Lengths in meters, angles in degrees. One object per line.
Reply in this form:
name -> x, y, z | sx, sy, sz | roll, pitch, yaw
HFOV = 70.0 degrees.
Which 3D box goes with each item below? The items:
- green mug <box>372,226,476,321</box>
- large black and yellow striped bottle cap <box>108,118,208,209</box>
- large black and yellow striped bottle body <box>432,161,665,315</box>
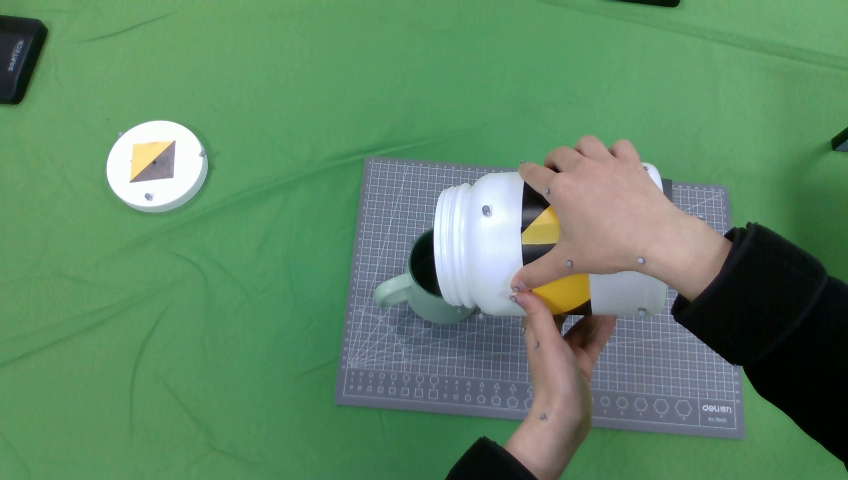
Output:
green mug -> 0.005, 0.041, 0.650 | 0.125, 0.105, 0.092 | -20, 74, -7
large black and yellow striped bottle cap -> -0.321, -0.093, 0.731 | 0.115, 0.019, 0.114 | 1, 71, -2
large black and yellow striped bottle body -> 0.108, 0.001, 0.533 | 0.183, 0.132, 0.130 | -2, 71, 15
